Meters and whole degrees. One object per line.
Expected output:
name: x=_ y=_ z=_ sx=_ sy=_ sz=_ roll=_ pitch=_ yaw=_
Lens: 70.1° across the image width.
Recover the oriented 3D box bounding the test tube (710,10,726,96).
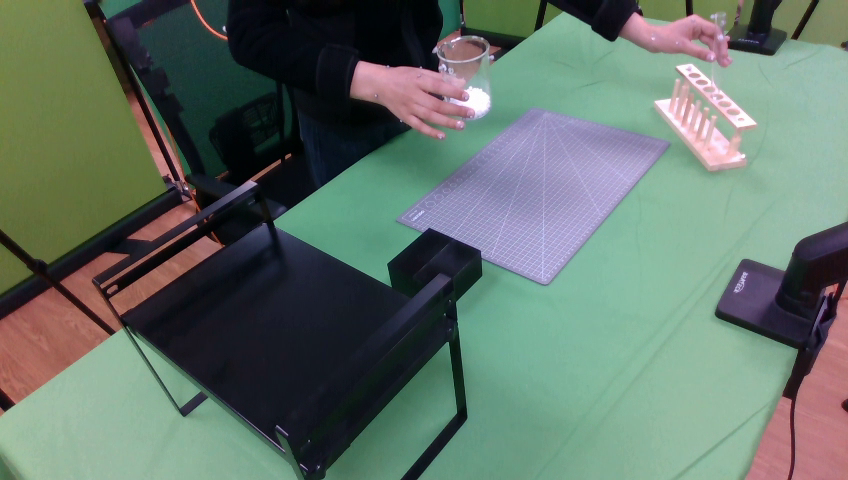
test tube: x=0.501 y=-0.315 z=1.031 sx=0.017 sy=0.151 sz=0.017 roll=-10 pitch=37 yaw=8

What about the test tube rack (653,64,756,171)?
test tube rack: x=0.510 y=-0.233 z=1.120 sx=0.067 sy=0.085 sz=0.241 roll=-9 pitch=41 yaw=-1

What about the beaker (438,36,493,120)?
beaker: x=0.061 y=-0.235 z=0.880 sx=0.074 sy=0.101 sz=0.083 roll=-24 pitch=44 yaw=-14
